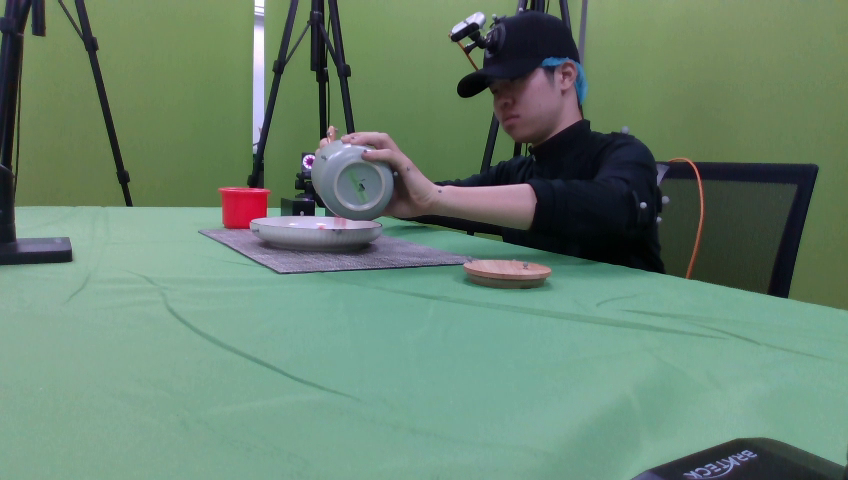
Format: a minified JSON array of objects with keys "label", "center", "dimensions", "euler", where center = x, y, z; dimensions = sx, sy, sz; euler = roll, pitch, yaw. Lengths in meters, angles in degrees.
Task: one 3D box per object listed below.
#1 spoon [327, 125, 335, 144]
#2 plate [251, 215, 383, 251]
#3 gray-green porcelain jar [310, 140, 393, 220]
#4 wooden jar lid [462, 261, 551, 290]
[{"label":"spoon","center":[-0.151,-0.130,0.987],"dimensions":[0.042,0.021,0.193],"euler":[10,39,-20]},{"label":"plate","center":[-0.170,-0.012,0.971],"dimensions":[0.208,0.039,0.207],"euler":[2,7,0]},{"label":"gray-green porcelain jar","center":[-0.105,-0.087,0.868],"dimensions":[0.106,0.106,0.126],"euler":[0,13,-17]},{"label":"wooden jar lid","center":[0.100,0.043,0.742],"dimensions":[0.108,0.020,0.108],"euler":[2,6,0]}]
